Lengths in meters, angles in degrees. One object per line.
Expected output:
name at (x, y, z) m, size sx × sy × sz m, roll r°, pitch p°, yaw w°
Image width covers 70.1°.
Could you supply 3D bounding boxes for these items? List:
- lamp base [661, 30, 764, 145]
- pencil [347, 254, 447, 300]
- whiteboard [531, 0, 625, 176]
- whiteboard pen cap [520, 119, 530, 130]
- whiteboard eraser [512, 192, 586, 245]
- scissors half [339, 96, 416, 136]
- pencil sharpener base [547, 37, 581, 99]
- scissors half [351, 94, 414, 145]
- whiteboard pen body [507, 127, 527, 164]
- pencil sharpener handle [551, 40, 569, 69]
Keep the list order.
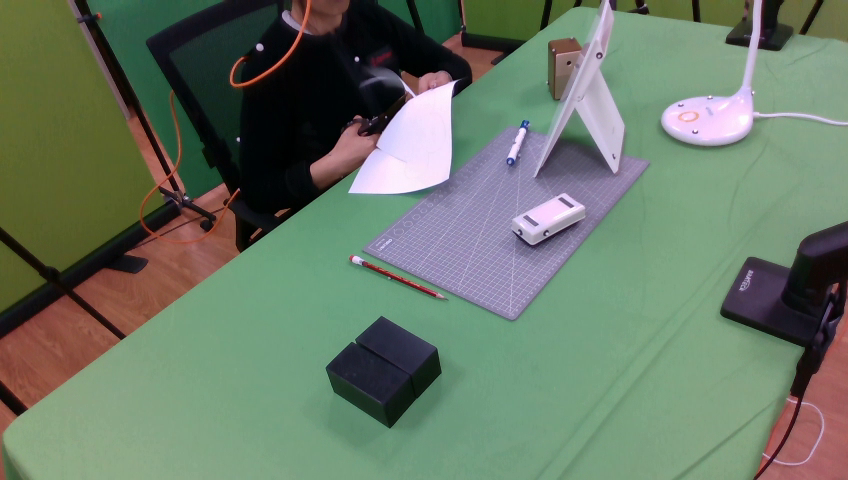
lamp base at (0.535, -0.287, 1.096) m, size 0.179 × 0.181 × 0.159 m, roll -10°, pitch 40°, yaw -4°
pencil at (-0.044, 0.057, 0.933) m, size 0.192 × 0.012 × 0.012 m, roll 22°, pitch 49°, yaw 29°
whiteboard at (0.320, -0.258, 1.050) m, size 0.144 × 0.306 × 0.217 m, roll 22°, pitch 45°, yaw 5°
whiteboard pen cap at (0.200, -0.226, 1.204) m, size 0.018 × 0.018 × 0.033 m, roll 7°, pitch 41°, yaw 18°
whiteboard eraser at (0.199, -0.032, 0.962) m, size 0.113 × 0.042 × 0.055 m, roll -27°, pitch 43°, yaw -20°
scissors half at (-0.096, -0.257, 1.239) m, size 0.175 × 0.040 × 0.012 m, roll -22°, pitch 63°, yaw 8°
pencil sharpener base at (0.299, -0.368, 1.290) m, size 0.061 × 0.107 × 0.076 m, roll -8°, pitch 40°, yaw 2°
scissors half at (-0.085, -0.250, 1.256) m, size 0.174 × 0.040 × 0.012 m, roll -35°, pitch 54°, yaw 28°
whiteboard pen body at (0.181, -0.189, 1.162) m, size 0.017 × 0.017 × 0.140 m, roll 8°, pitch 42°, yaw 19°
pencil sharpener handle at (0.291, -0.409, 1.320) m, size 0.036 × 0.068 × 0.030 m, roll 2°, pitch 40°, yaw -6°
